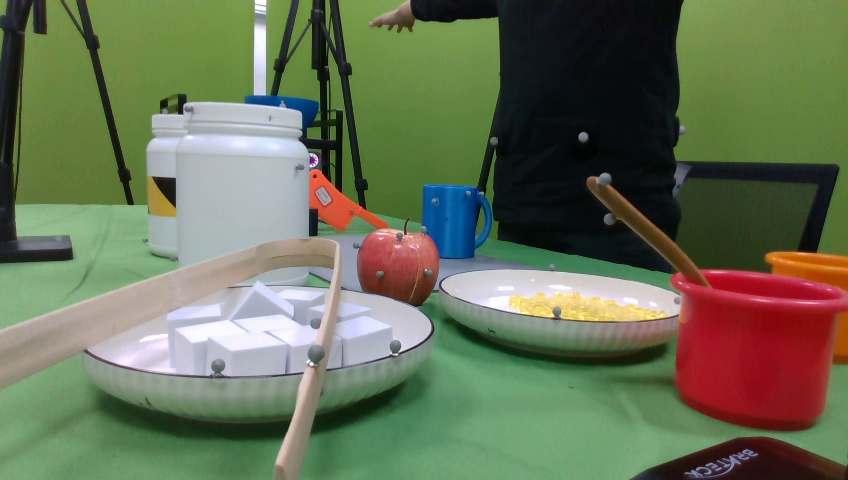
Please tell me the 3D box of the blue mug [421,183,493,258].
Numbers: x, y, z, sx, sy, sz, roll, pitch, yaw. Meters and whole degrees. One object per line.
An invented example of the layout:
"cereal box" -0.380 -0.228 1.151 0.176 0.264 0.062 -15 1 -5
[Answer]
"blue mug" 0.052 -0.032 0.912 0.117 0.106 0.082 -1 8 -24

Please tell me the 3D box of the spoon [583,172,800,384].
"spoon" 0.159 0.026 0.358 0.194 0.021 0.041 46 -2 -14

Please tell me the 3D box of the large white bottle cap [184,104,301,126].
"large white bottle cap" -0.184 -0.126 0.618 0.115 0.018 0.115 2 8 0

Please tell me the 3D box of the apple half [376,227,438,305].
"apple half" -0.017 0.025 0.593 0.080 0.074 0.053 4 2 43

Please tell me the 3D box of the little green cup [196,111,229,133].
"little green cup" -0.403 -0.225 1.154 0.061 0.038 0.061 3 8 0

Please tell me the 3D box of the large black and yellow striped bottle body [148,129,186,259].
"large black and yellow striped bottle body" -0.310 -0.072 0.838 0.131 0.184 0.130 2 8 0

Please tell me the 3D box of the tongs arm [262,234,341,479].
"tongs arm" -0.074 0.039 0.349 0.051 0.026 0.384 -2 10 -3

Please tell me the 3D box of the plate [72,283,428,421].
"plate" -0.102 0.066 0.381 0.208 0.039 0.207 2 7 0

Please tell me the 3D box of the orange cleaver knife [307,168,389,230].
"orange cleaver knife" -0.158 -0.060 1.166 0.212 0.077 0.012 34 -12 -32

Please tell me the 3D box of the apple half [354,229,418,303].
"apple half" -0.044 0.027 0.564 0.081 0.081 0.033 9 5 42

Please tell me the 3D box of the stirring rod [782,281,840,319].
"stirring rod" 0.344 0.019 0.460 0.014 0.006 0.176 -13 -27 -30

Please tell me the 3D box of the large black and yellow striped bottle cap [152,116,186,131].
"large black and yellow striped bottle cap" -0.309 -0.155 0.826 0.115 0.019 0.115 3 6 0

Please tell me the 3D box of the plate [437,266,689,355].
"plate" 0.114 0.057 0.518 0.209 0.038 0.209 3 7 0

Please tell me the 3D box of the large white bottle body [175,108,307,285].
"large white bottle body" -0.188 -0.042 0.630 0.131 0.184 0.130 2 8 0

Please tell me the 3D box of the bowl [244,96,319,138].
"bowl" -0.295 -0.252 1.254 0.151 0.077 0.151 2 7 0

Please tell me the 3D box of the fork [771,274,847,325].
"fork" 0.332 0.018 0.443 0.028 0.018 0.207 -1 -36 -15

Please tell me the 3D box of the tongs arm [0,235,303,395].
"tongs arm" -0.157 0.038 0.351 0.028 0.028 0.388 -3 9 12
